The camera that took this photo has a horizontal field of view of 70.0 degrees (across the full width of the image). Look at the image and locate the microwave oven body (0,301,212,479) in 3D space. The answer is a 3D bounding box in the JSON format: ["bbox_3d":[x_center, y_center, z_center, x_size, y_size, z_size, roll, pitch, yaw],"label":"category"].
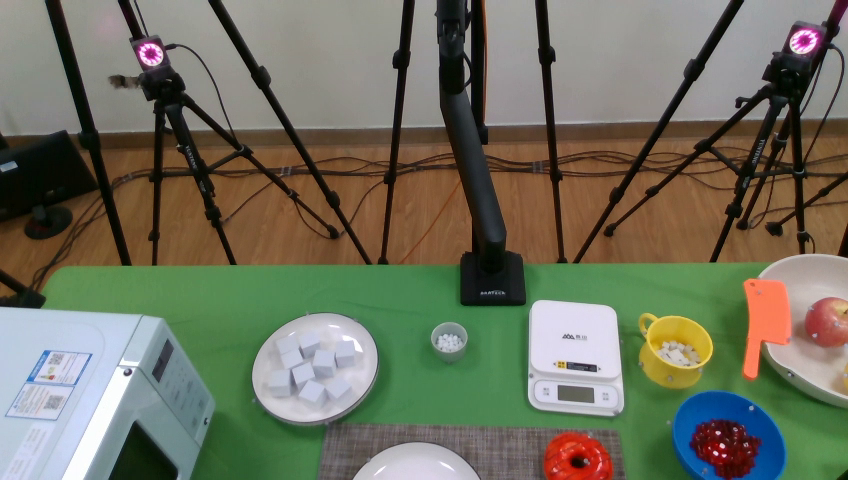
[{"bbox_3d":[-0.517,0.327,0.767,0.326,0.262,0.437,3,49,5],"label":"microwave oven body"}]

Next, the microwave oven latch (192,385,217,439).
[{"bbox_3d":[-0.347,0.266,0.941,0.030,0.030,0.078,4,49,6],"label":"microwave oven latch"}]

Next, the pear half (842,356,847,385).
[{"bbox_3d":[0.677,0.195,0.909,0.075,0.111,0.056,29,56,31],"label":"pear half"}]

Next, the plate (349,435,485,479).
[{"bbox_3d":[-0.011,0.376,0.840,0.209,0.038,0.207,-2,48,3],"label":"plate"}]

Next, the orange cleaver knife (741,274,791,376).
[{"bbox_3d":[0.541,0.130,0.961,0.077,0.012,0.210,14,51,17],"label":"orange cleaver knife"}]

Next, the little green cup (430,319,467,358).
[{"bbox_3d":[0.042,0.169,1.028,0.061,0.039,0.061,-2,48,3],"label":"little green cup"}]

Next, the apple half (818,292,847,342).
[{"bbox_3d":[0.682,0.127,0.994,0.053,0.075,0.080,-5,44,-5],"label":"apple half"}]

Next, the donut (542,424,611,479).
[{"bbox_3d":[0.219,0.315,0.876,0.099,0.049,0.098,-3,48,4],"label":"donut"}]

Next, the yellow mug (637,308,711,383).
[{"bbox_3d":[0.396,0.163,0.992,0.100,0.064,0.129,-25,50,-17],"label":"yellow mug"}]

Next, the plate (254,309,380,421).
[{"bbox_3d":[-0.175,0.208,1.007,0.207,0.039,0.205,-2,48,2],"label":"plate"}]

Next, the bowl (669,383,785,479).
[{"bbox_3d":[0.422,0.291,0.867,0.151,0.077,0.150,-2,49,2],"label":"bowl"}]

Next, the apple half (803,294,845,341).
[{"bbox_3d":[0.643,0.131,0.991,0.033,0.082,0.080,-4,48,-5],"label":"apple half"}]

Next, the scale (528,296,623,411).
[{"bbox_3d":[0.249,0.182,1.007,0.148,0.032,0.199,3,49,7],"label":"scale"}]

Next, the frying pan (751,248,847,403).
[{"bbox_3d":[0.715,0.200,0.911,0.307,0.104,0.482,-21,42,-13],"label":"frying pan"}]

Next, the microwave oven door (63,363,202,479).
[{"bbox_3d":[-0.377,0.360,0.721,0.039,0.246,0.352,2,48,6],"label":"microwave oven door"}]
